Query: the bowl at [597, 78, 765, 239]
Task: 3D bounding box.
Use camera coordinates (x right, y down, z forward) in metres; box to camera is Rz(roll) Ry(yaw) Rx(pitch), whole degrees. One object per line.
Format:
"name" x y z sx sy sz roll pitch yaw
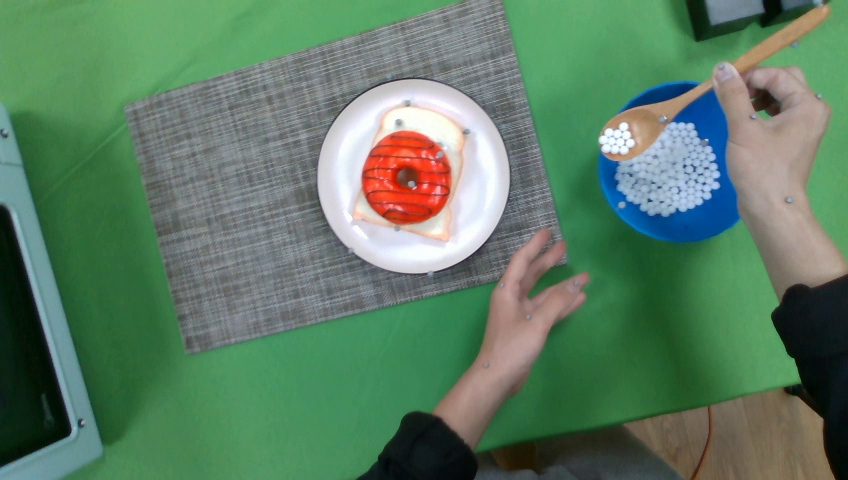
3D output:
"bowl" 0.243 -0.076 0.600 0.151 0.077 0.151 0 91 7

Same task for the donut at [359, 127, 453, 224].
"donut" -0.019 -0.066 0.621 0.099 0.048 0.099 0 92 8

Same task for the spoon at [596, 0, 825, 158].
"spoon" 0.226 -0.128 0.496 0.193 0.021 0.041 -33 86 37

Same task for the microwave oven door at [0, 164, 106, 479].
"microwave oven door" -0.451 0.090 0.593 0.039 0.244 0.355 -17 89 8

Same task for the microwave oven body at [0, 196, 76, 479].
"microwave oven body" -0.601 0.090 0.617 0.326 0.260 0.441 -16 90 7

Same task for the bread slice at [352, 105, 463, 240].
"bread slice" -0.014 -0.076 0.649 0.107 0.018 0.134 11 93 6

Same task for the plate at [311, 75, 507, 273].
"plate" -0.015 -0.068 0.649 0.207 0.039 0.207 0 92 7

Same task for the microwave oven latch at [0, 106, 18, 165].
"microwave oven latch" -0.496 -0.122 0.694 0.030 0.029 0.079 -16 90 7
